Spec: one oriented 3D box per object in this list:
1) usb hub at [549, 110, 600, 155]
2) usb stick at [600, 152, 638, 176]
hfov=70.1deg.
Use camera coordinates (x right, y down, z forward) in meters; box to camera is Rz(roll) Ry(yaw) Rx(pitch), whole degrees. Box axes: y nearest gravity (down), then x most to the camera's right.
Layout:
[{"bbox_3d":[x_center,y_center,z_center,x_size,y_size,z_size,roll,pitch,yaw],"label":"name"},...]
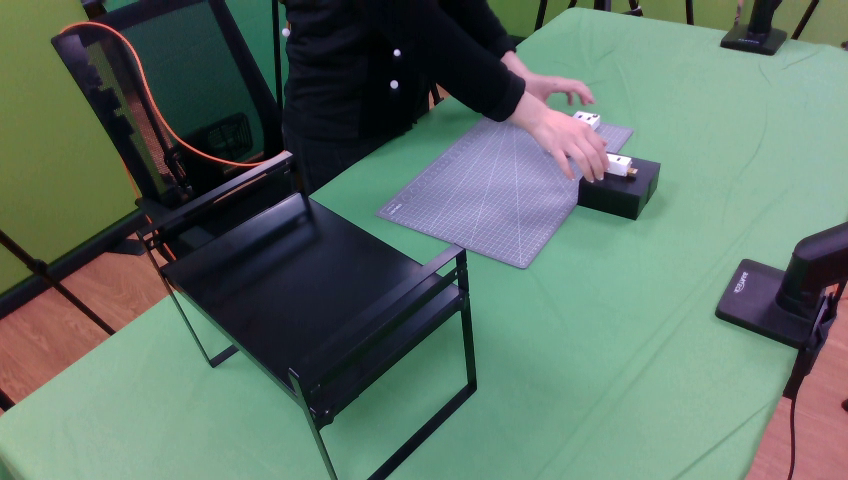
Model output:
[{"bbox_3d":[0.292,-0.208,1.167,0.049,0.025,0.125,23,49,29],"label":"usb hub"},{"bbox_3d":[0.321,-0.122,0.990,0.059,0.027,0.021,23,49,26],"label":"usb stick"}]
